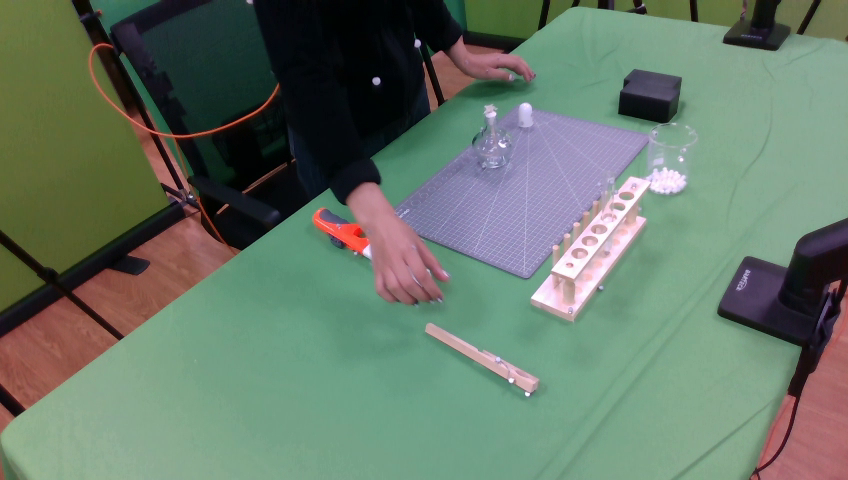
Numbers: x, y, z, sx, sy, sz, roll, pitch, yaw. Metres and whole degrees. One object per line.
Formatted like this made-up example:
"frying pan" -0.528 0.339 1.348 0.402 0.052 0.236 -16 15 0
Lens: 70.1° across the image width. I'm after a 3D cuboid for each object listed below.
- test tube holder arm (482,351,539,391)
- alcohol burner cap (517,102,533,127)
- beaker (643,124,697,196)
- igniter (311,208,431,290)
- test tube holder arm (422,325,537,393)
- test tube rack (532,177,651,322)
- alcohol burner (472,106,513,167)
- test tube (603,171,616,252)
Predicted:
"test tube holder arm" 0.106 0.166 0.769 0.087 0.015 0.010 24 15 34
"alcohol burner cap" 0.205 -0.255 1.223 0.034 0.048 0.033 -6 40 5
"beaker" 0.407 -0.132 1.001 0.084 0.101 0.073 -20 41 -13
"igniter" -0.096 0.008 0.985 0.274 0.025 0.057 29 63 36
"test tube holder arm" 0.068 0.152 0.789 0.177 0.015 0.013 23 15 32
"test tube rack" 0.247 0.002 0.883 0.066 0.085 0.243 22 49 32
"alcohol burner" 0.125 -0.195 1.111 0.078 0.119 0.077 -5 42 5
"test tube" 0.259 -0.036 0.848 0.017 0.151 0.017 -8 46 9
